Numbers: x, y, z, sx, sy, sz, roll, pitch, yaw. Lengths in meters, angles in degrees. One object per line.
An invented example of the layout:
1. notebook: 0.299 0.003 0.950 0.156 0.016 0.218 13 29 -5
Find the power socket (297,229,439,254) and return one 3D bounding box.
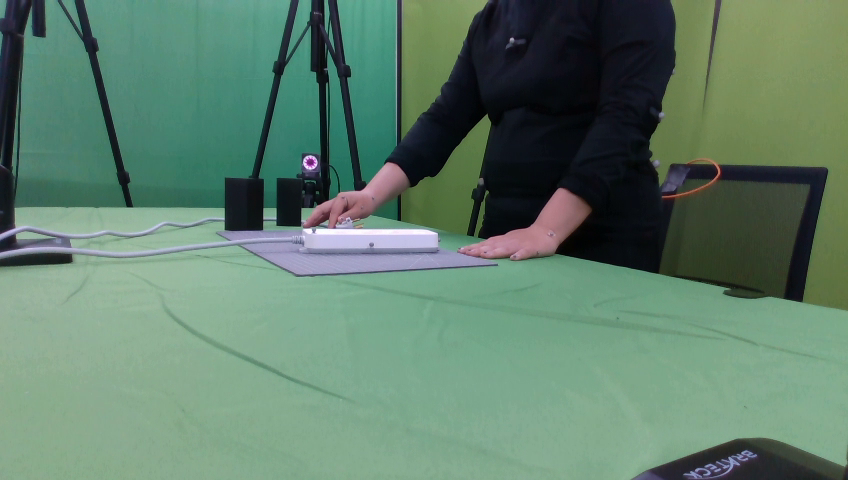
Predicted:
1. power socket: -0.084 0.001 0.941 0.228 0.032 0.072 0 7 -20

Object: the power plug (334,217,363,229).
1. power plug: -0.142 -0.030 1.129 0.053 0.035 0.072 -16 21 -8
